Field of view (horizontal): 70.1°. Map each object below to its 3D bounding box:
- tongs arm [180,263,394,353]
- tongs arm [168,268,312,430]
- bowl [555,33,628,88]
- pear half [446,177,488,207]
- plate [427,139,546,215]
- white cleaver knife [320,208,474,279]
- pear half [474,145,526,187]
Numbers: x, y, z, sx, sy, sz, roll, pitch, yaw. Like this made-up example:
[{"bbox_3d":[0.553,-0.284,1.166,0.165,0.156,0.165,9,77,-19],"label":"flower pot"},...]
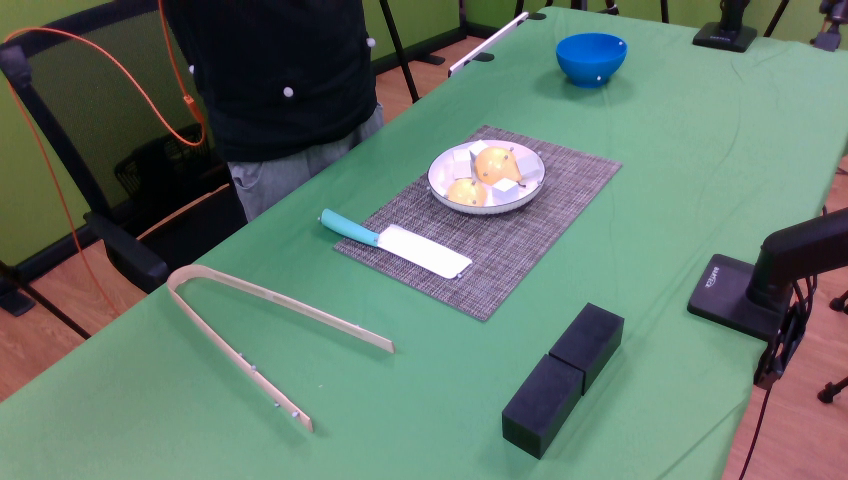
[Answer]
[{"bbox_3d":[-0.209,0.095,0.883,0.385,0.028,0.028,16,48,25],"label":"tongs arm"},{"bbox_3d":[-0.259,0.136,0.835,0.381,0.026,0.051,27,50,34],"label":"tongs arm"},{"bbox_3d":[0.361,-0.384,1.318,0.151,0.077,0.150,-4,41,4],"label":"bowl"},{"bbox_3d":[0.073,-0.086,1.031,0.070,0.031,0.087,-20,36,-10],"label":"pear half"},{"bbox_3d":[0.109,-0.107,1.059,0.207,0.039,0.206,-4,41,4],"label":"plate"},{"bbox_3d":[-0.053,0.001,0.978,0.284,0.021,0.066,23,40,26],"label":"white cleaver knife"},{"bbox_3d":[0.140,-0.129,1.059,0.076,0.056,0.109,-37,53,-25],"label":"pear half"}]
